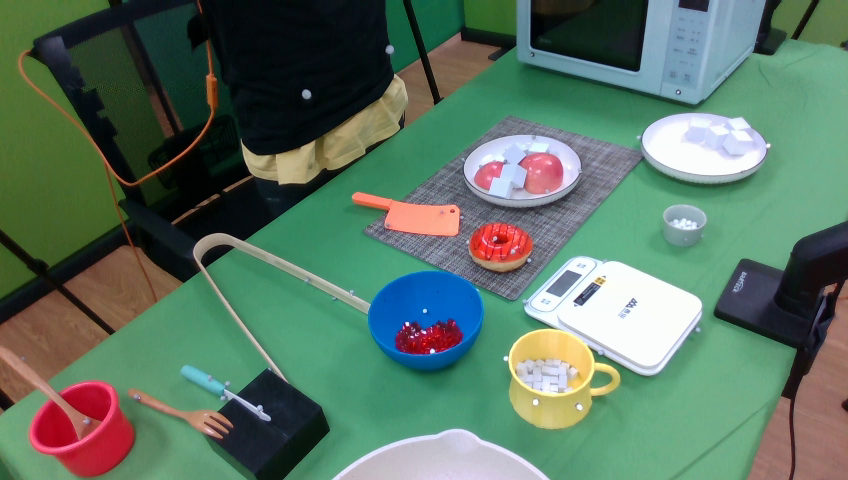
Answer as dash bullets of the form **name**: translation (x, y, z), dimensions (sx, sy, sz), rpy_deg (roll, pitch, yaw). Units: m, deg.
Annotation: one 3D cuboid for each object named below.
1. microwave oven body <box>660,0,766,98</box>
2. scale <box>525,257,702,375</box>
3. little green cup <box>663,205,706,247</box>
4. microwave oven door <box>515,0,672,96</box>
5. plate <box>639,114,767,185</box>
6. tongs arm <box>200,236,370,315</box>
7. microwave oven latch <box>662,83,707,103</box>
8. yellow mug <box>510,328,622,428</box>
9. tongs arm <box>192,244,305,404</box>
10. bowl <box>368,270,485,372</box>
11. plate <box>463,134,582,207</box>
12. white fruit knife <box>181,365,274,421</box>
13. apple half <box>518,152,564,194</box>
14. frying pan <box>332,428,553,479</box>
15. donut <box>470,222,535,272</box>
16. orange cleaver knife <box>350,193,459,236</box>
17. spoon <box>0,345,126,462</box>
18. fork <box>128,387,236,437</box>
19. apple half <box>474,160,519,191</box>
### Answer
- **microwave oven body**: translation (0.472, -0.513, 1.317), dimensions (0.438, 0.261, 0.327), rpy_deg (26, 51, 34)
- **scale**: translation (0.254, 0.091, 0.821), dimensions (0.199, 0.032, 0.149), rpy_deg (28, 51, 35)
- **little green cup**: translation (0.396, -0.020, 0.926), dimensions (0.061, 0.039, 0.061), rpy_deg (-4, 40, 4)
- **microwave oven door**: translation (0.343, -0.454, 1.259), dimensions (0.353, 0.245, 0.039), rpy_deg (26, 51, 33)
- **plate**: translation (0.489, -0.157, 1.074), dimensions (0.207, 0.039, 0.206), rpy_deg (-4, 40, 4)
- **tongs arm**: translation (-0.209, 0.063, 0.925), dimensions (0.381, 0.027, 0.051), rpy_deg (23, 54, 32)
- **microwave oven latch**: translation (0.517, -0.296, 1.204), dimensions (0.078, 0.029, 0.030), rpy_deg (28, 52, 35)
- **yellow mug**: translation (0.168, 0.164, 0.722), dimensions (0.130, 0.064, 0.099), rpy_deg (0, 40, 8)
- **tongs arm**: translation (-0.267, 0.110, 0.885), dimensions (0.028, 0.028, 0.384), rpy_deg (-36, 47, -18)
- **bowl**: translation (0.007, 0.118, 0.791), dimensions (0.151, 0.077, 0.150), rpy_deg (-4, 40, 4)
- **plate**: translation (0.173, -0.119, 1.070), dimensions (0.209, 0.038, 0.208), rpy_deg (-4, 40, 4)
- **white fruit knife**: translation (-0.245, 0.187, 0.747), dimensions (0.205, 0.027, 0.016), rpy_deg (9, 41, 40)
- **apple half**: translation (0.204, -0.124, 1.048), dimensions (0.075, 0.053, 0.080), rpy_deg (-6, 41, -3)
- **frying pan**: translation (-0.089, 0.306, 0.564), dimensions (0.487, 0.103, 0.306), rpy_deg (10, 41, 7)
- **donut**: translation (0.119, 0.009, 0.923), dimensions (0.099, 0.048, 0.098), rpy_deg (-4, 38, 3)
- **orange cleaver knife**: translation (-0.037, -0.044, 1.028), dimensions (0.210, 0.012, 0.077), rpy_deg (10, 49, 17)
- **spoon**: translation (-0.434, 0.192, 0.720), dimensions (0.194, 0.021, 0.042), rpy_deg (47, 54, -7)
- **fork**: translation (-0.305, 0.207, 0.744), dimensions (0.206, 0.019, 0.028), rpy_deg (3, 41, 36)
- **apple half**: translation (0.130, -0.120, 1.068), dimensions (0.081, 0.033, 0.081), rpy_deg (-3, 36, 3)
